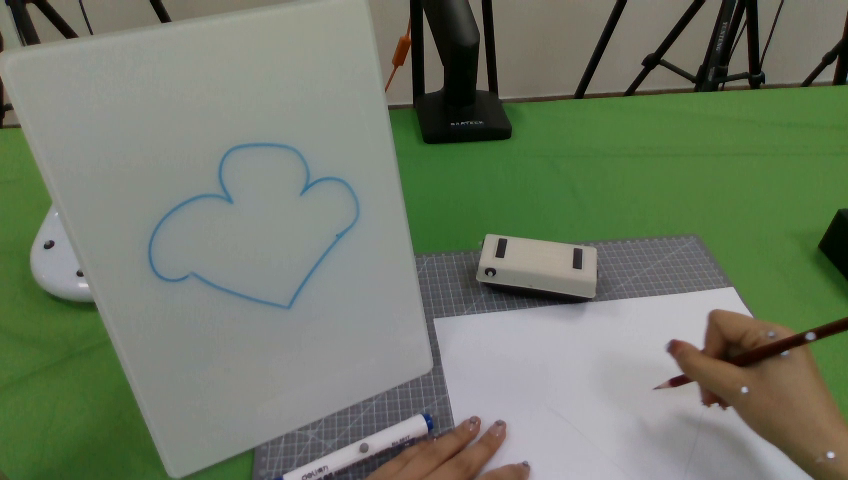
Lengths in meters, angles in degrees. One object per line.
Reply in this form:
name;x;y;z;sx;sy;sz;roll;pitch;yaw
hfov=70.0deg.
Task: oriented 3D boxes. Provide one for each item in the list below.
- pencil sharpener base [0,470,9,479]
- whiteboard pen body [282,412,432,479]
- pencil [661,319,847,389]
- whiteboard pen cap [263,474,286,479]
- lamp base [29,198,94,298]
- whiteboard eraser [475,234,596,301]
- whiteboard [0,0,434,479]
pencil sharpener base;-0.296;0.169;0.365;0.061;0.108;0.076;31;49;30
whiteboard pen body;-0.058;0.158;0.442;0.141;0.017;0.017;-18;44;-19
pencil;0.233;0.075;0.407;0.012;0.194;0.012;15;57;-24
whiteboard pen cap;-0.111;0.176;0.421;0.033;0.018;0.018;-19;44;-20
lamp base;-0.324;-0.062;0.577;0.178;0.182;0.160;23;45;27
whiteboard eraser;0.108;0.027;0.586;0.112;0.042;0.055;8;42;9
whiteboard;-0.138;-0.013;0.474;0.218;0.307;0.142;-18;25;-20
